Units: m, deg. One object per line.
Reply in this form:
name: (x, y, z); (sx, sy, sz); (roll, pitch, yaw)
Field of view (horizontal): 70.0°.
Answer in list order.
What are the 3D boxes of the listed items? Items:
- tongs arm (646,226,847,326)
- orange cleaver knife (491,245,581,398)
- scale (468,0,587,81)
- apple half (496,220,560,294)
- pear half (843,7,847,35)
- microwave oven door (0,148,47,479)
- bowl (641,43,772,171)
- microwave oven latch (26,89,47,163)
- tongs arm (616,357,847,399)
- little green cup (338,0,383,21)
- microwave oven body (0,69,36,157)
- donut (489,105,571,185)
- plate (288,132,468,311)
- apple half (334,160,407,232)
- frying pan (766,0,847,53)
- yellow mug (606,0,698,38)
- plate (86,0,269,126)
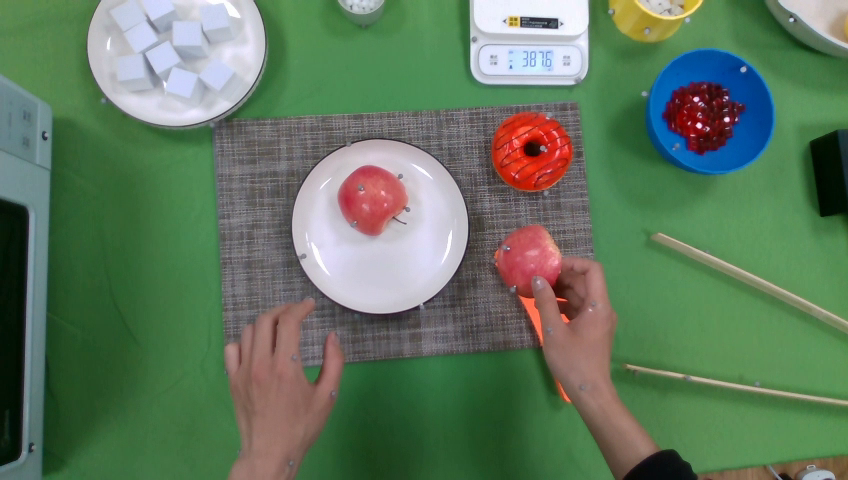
tongs arm: (0.449, 0.074, 0.742); (0.388, 0.028, 0.028); (26, 76, -1)
orange cleaver knife: (0.148, 0.081, 0.725); (0.077, 0.012, 0.210); (-22, 84, -11)
scale: (0.130, -0.301, 0.760); (0.149, 0.031, 0.200); (0, 85, -3)
apple half: (0.101, 0.017, 0.628); (0.033, 0.081, 0.081); (-7, 83, -38)
pear half: (0.568, -0.280, 0.742); (0.076, 0.110, 0.056); (32, 84, 4)
microwave oven door: (-0.436, 0.077, 0.563); (0.039, 0.244, 0.355); (-2, 84, -3)
bowl: (0.327, -0.151, 0.734); (0.151, 0.077, 0.151); (0, 85, -3)
microwave oven latch: (-0.446, -0.129, 0.685); (0.030, 0.029, 0.079); (0, 85, -4)
tongs arm: (0.424, 0.157, 0.730); (0.385, 0.026, 0.050); (11, 80, -3)
little green cup: (-0.078, -0.302, 0.744); (0.061, 0.038, 0.061); (0, 84, -3)
microwave oven body: (-0.583, 0.039, 0.563); (0.326, 0.260, 0.440); (-2, 85, -4)
donut: (0.126, -0.114, 0.731); (0.099, 0.048, 0.099); (0, 85, -1)
plate: (-0.053, -0.021, 0.714); (0.209, 0.038, 0.208); (0, 84, -3)
apple half: (-0.063, -0.055, 0.701); (0.081, 0.053, 0.074); (-41, 84, -7)
frying pan: (0.607, -0.283, 0.752); (0.307, 0.103, 0.485); (-31, 79, -5)
yellow mug: (0.277, -0.325, 0.755); (0.100, 0.064, 0.130); (-37, 87, -6)
plate: (-0.288, -0.234, 0.725); (0.208, 0.039, 0.207); (0, 84, -3)
